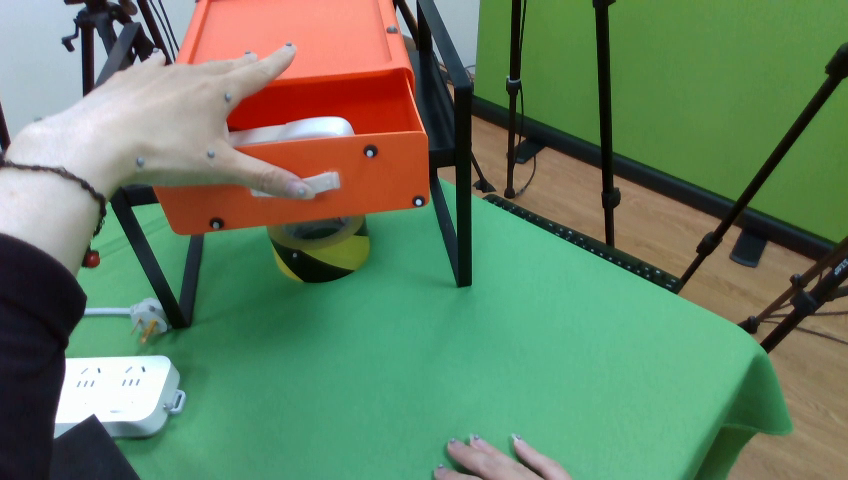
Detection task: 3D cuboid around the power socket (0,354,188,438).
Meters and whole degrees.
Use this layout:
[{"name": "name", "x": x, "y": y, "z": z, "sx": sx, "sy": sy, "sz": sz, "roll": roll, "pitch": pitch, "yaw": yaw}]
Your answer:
[{"name": "power socket", "x": -0.334, "y": 0.143, "z": 0.555, "sx": 0.227, "sy": 0.033, "sz": 0.071, "roll": -2, "pitch": 42, "yaw": 2}]

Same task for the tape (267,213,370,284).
[{"name": "tape", "x": -0.118, "y": -0.009, "z": 0.694, "sx": 0.117, "sy": 0.053, "sz": 0.115, "roll": -1, "pitch": 44, "yaw": 1}]

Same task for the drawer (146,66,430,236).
[{"name": "drawer", "x": -0.106, "y": -0.105, "z": 0.512, "sx": 0.195, "sy": 0.074, "sz": 0.209, "roll": -8, "pitch": 42, "yaw": -4}]

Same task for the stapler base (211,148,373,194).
[{"name": "stapler base", "x": -0.108, "y": -0.059, "z": 0.493, "sx": 0.130, "sy": 0.024, "sz": 0.041, "roll": 1, "pitch": 37, "yaw": 8}]

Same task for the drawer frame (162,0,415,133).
[{"name": "drawer frame", "x": -0.121, "y": -0.168, "z": 0.577, "sx": 0.202, "sy": 0.083, "sz": 0.211, "roll": -8, "pitch": 42, "yaw": -5}]

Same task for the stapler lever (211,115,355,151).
[{"name": "stapler lever", "x": -0.112, "y": -0.078, "z": 0.477, "sx": 0.118, "sy": 0.040, "sz": 0.026, "roll": 2, "pitch": 37, "yaw": 7}]

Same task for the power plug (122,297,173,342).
[{"name": "power plug", "x": -0.289, "y": 0.088, "z": 0.625, "sx": 0.072, "sy": 0.035, "sz": 0.052, "roll": -29, "pitch": 28, "yaw": 28}]

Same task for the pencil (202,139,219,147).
[{"name": "pencil", "x": -0.119, "y": -0.080, "z": 0.514, "sx": 0.193, "sy": 0.012, "sz": 0.012, "roll": 4, "pitch": 42, "yaw": 23}]
